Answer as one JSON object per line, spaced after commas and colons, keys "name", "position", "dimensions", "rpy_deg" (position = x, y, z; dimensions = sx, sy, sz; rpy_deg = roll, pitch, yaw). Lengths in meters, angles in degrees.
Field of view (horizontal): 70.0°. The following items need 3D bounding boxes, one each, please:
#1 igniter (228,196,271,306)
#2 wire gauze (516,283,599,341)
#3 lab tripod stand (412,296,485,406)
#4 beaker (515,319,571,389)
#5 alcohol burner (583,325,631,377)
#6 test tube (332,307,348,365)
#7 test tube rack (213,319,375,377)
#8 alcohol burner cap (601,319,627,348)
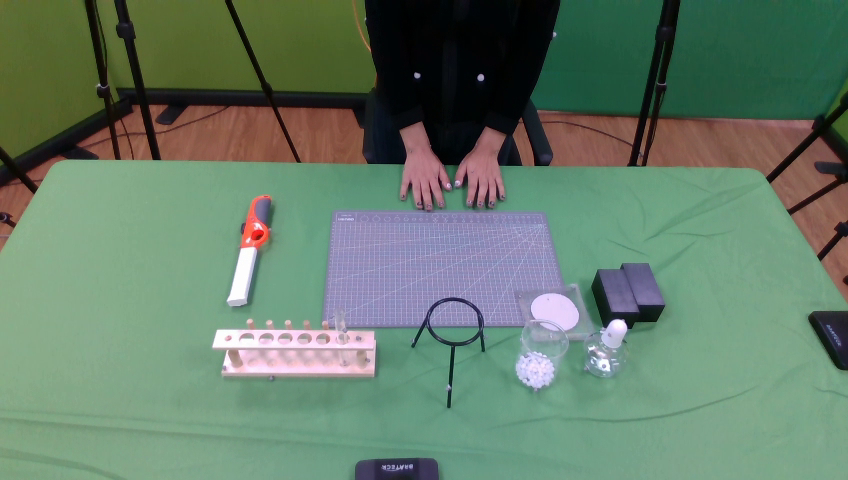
{"name": "igniter", "position": [-0.332, 0.011, 1.160], "dimensions": [0.057, 0.025, 0.274], "rpy_deg": [-6, 46, 5]}
{"name": "wire gauze", "position": [0.240, 0.131, 1.094], "dimensions": [0.125, 0.011, 0.120], "rpy_deg": [-3, 48, -8]}
{"name": "lab tripod stand", "position": [0.045, 0.168, 0.963], "dimensions": [0.148, 0.132, 0.147], "rpy_deg": [3, 47, -3]}
{"name": "beaker", "position": [0.186, 0.186, 0.980], "dimensions": [0.074, 0.101, 0.083], "rpy_deg": [-23, 51, -24]}
{"name": "alcohol burner", "position": [0.304, 0.171, 0.991], "dimensions": [0.078, 0.120, 0.077], "rpy_deg": [2, 48, -2]}
{"name": "test tube", "position": [-0.128, 0.151, 0.931], "dimensions": [0.017, 0.151, 0.017], "rpy_deg": [1, 50, -2]}
{"name": "test tube rack", "position": [-0.202, 0.170, 0.977], "dimensions": [0.242, 0.085, 0.066], "rpy_deg": [1, 46, -3]}
{"name": "alcohol burner cap", "position": [0.305, 0.146, 0.966], "dimensions": [0.034, 0.048, 0.033], "rpy_deg": [6, 41, -5]}
